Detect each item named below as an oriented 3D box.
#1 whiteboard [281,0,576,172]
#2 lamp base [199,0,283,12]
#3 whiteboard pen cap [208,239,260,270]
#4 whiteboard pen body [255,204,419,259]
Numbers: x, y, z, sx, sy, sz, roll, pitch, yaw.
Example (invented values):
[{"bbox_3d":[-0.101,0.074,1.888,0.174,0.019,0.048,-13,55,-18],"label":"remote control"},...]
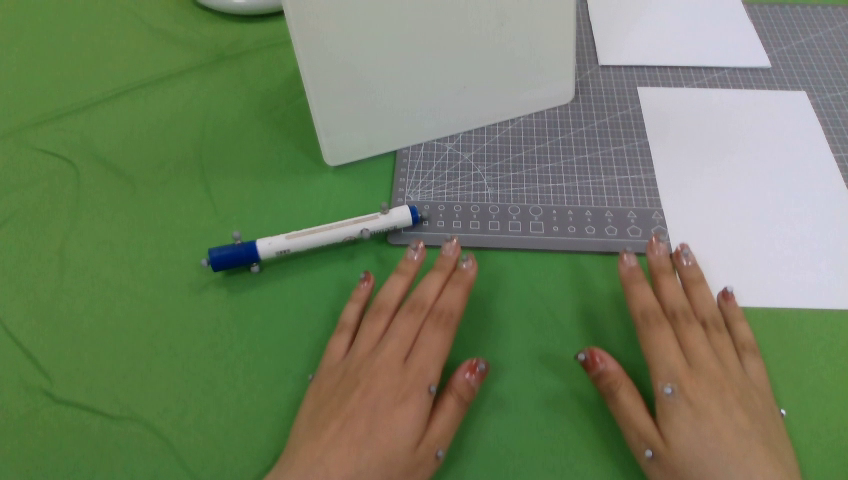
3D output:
[{"bbox_3d":[-0.014,-0.242,0.453,0.217,0.308,0.142,-16,37,-9],"label":"whiteboard"},{"bbox_3d":[-0.178,-0.335,0.560,0.177,0.182,0.160,38,64,26],"label":"lamp base"},{"bbox_3d":[-0.129,0.009,0.414,0.033,0.018,0.018,-13,56,-13],"label":"whiteboard pen cap"},{"bbox_3d":[-0.072,-0.004,0.425,0.141,0.017,0.017,-14,56,-10],"label":"whiteboard pen body"}]
